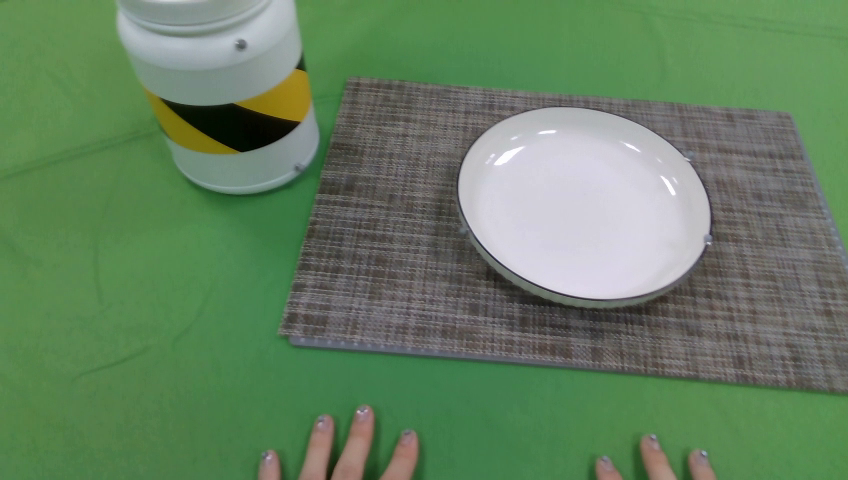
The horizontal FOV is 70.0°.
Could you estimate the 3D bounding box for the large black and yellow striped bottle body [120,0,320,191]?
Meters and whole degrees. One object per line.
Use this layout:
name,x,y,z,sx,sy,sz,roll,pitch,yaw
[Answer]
large black and yellow striped bottle body,-0.161,-0.144,0.495,0.131,0.185,0.129,1,54,-1

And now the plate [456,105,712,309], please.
plate,0.130,-0.029,0.508,0.208,0.039,0.205,1,54,-1

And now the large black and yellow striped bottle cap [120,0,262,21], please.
large black and yellow striped bottle cap,-0.160,-0.194,0.426,0.115,0.019,0.114,2,53,-2
